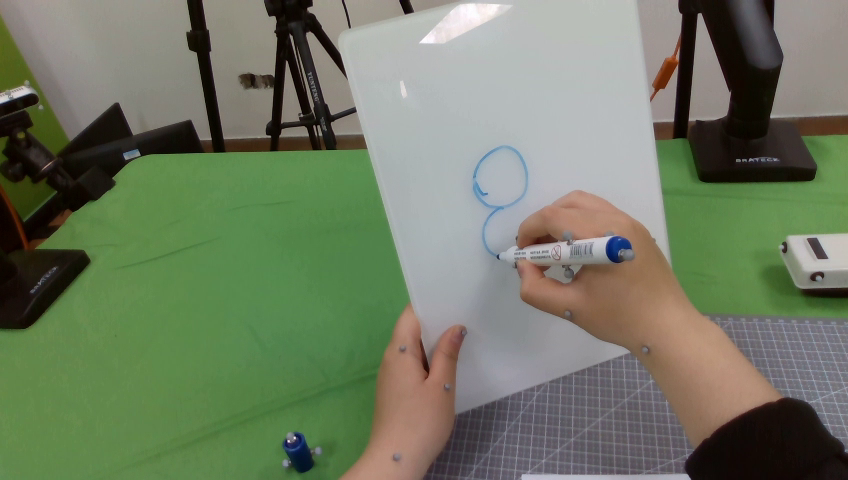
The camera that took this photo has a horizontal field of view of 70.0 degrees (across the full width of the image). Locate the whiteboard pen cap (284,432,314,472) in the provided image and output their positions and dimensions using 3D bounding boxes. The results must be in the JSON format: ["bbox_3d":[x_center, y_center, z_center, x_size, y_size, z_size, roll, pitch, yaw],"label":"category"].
[{"bbox_3d":[-0.096,0.164,0.468,0.018,0.033,0.018,-6,38,5],"label":"whiteboard pen cap"}]

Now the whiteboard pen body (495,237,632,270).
[{"bbox_3d":[0.082,0.011,0.395,0.017,0.017,0.140,-29,8,-22],"label":"whiteboard pen body"}]

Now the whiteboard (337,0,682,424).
[{"bbox_3d":[0.068,-0.041,0.519,0.217,0.307,0.143,-17,18,-7],"label":"whiteboard"}]

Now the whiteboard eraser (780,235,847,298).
[{"bbox_3d":[0.380,0.023,0.529,0.112,0.042,0.055,-1,41,11],"label":"whiteboard eraser"}]
